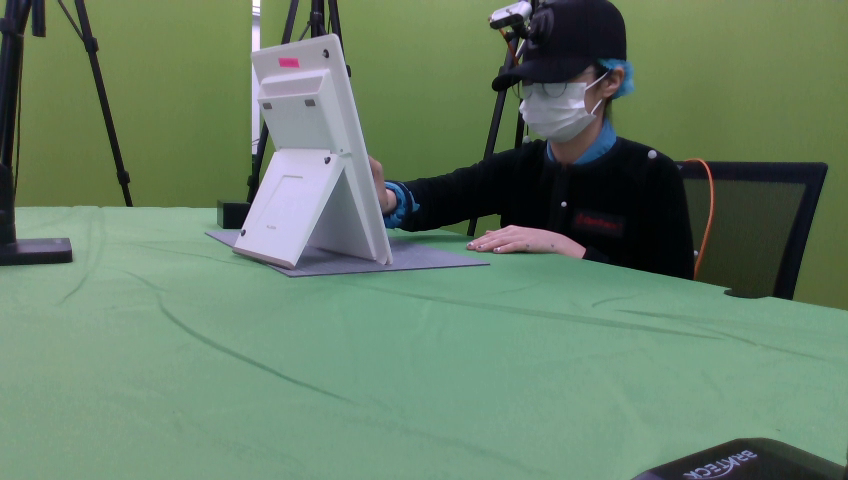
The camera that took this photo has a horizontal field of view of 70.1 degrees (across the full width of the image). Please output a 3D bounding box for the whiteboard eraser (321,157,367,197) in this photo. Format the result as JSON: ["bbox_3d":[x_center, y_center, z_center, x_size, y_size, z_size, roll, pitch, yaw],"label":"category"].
[{"bbox_3d":[-0.112,-0.087,0.839,0.019,0.041,0.101,-28,8,-37],"label":"whiteboard eraser"}]

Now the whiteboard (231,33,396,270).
[{"bbox_3d":[-0.193,-0.094,0.805,0.144,0.305,0.216,-29,25,-35],"label":"whiteboard"}]
